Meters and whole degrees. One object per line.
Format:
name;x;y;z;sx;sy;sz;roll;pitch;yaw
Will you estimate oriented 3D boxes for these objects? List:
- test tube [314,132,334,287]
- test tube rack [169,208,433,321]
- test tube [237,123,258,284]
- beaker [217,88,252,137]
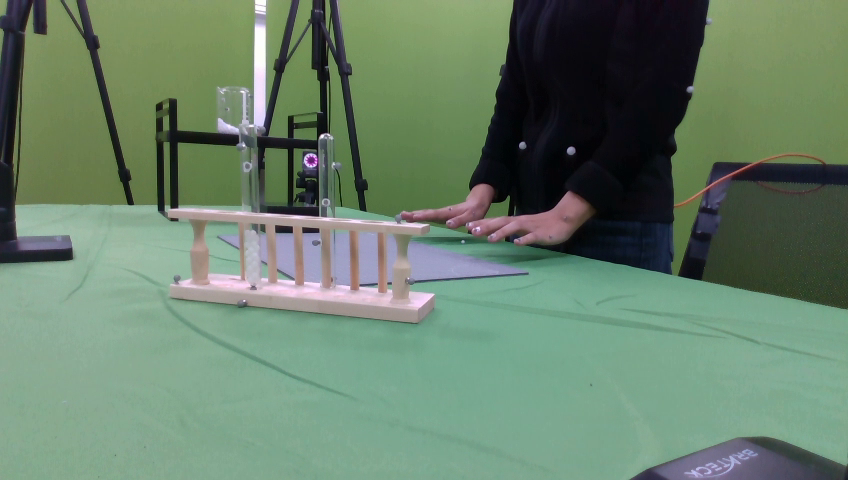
test tube;-0.096;-0.028;0.583;0.017;0.150;0.017;0;9;0
test tube rack;-0.115;0.018;0.574;0.242;0.085;0.067;4;8;14
test tube;-0.163;-0.032;0.559;0.017;0.150;0.017;2;13;0
beaker;-0.412;-0.276;1.310;0.074;0.100;0.084;4;8;16
